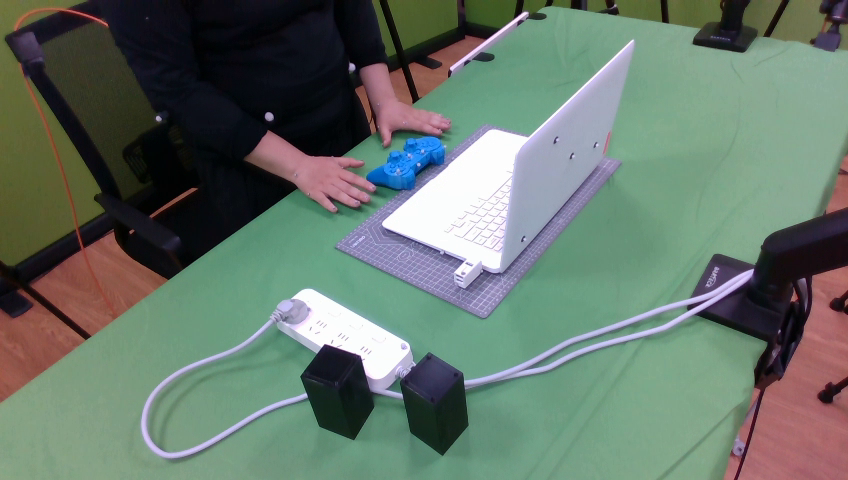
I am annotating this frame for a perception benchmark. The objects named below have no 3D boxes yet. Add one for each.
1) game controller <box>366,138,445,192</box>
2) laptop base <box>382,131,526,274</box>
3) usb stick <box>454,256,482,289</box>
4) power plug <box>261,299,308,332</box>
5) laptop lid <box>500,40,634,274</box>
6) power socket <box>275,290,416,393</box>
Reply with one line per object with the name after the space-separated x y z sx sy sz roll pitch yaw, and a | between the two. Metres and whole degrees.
-0.030 -0.147 1.128 0.096 0.052 0.155 24 50 29 | game controller
0.123 -0.081 1.049 0.233 0.023 0.355 20 47 33 | laptop base
0.069 0.044 0.891 0.021 0.027 0.059 23 44 32 | usb stick
-0.193 0.109 0.830 0.073 0.053 0.035 -35 47 -23 | power plug
0.218 -0.128 0.906 0.013 0.242 0.358 28 50 25 | laptop lid
-0.114 0.132 0.821 0.225 0.033 0.072 24 48 32 | power socket
